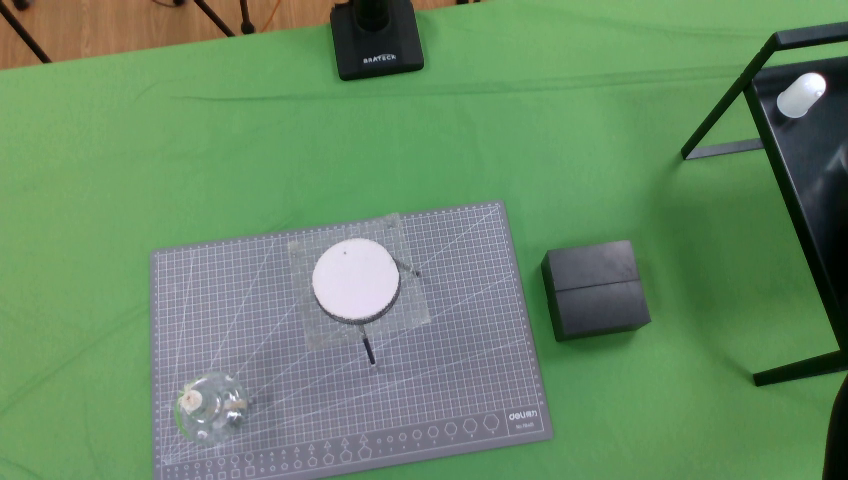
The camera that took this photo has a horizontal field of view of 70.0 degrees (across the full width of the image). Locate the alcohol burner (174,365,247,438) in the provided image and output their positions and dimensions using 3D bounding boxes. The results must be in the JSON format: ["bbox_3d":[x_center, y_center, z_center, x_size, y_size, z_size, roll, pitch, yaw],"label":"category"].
[{"bbox_3d":[-0.233,0.170,0.646,0.078,0.120,0.077,0,69,0],"label":"alcohol burner"}]

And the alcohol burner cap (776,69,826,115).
[{"bbox_3d":[0.381,-0.151,0.606,0.034,0.048,0.033,0,72,0],"label":"alcohol burner cap"}]

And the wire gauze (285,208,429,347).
[{"bbox_3d":[-0.069,0.037,0.610,0.125,0.011,0.120,-14,72,-6],"label":"wire gauze"}]

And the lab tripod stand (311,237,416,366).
[{"bbox_3d":[-0.068,0.056,0.674,0.148,0.132,0.147,0,69,0],"label":"lab tripod stand"}]
